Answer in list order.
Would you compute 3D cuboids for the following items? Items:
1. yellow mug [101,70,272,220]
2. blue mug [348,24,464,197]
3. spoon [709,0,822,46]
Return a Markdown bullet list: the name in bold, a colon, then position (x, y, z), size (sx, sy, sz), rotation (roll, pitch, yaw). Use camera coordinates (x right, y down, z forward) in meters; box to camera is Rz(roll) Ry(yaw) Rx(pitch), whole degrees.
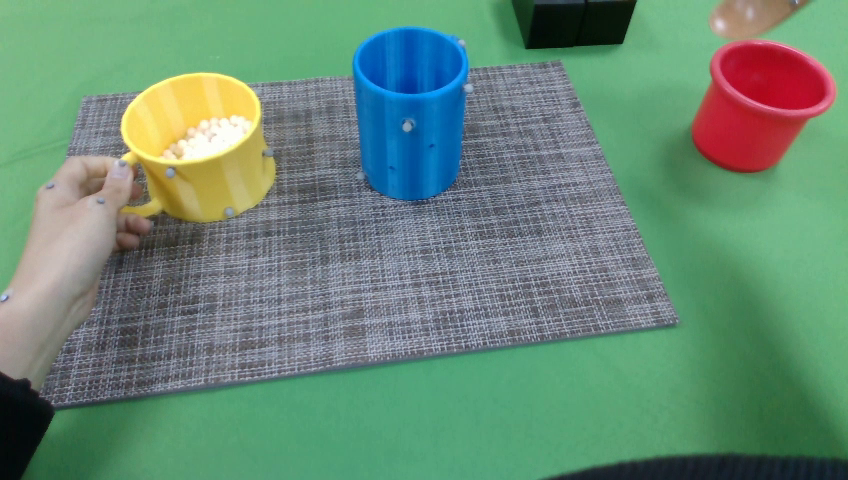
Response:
- **yellow mug**: position (-0.184, -0.065, 0.461), size (0.099, 0.064, 0.130), rotation (35, 60, 21)
- **blue mug**: position (-0.004, -0.108, 0.477), size (0.082, 0.107, 0.116), rotation (30, 58, 19)
- **spoon**: position (0.281, -0.167, 0.387), size (0.022, 0.193, 0.041), rotation (25, 70, -33)
